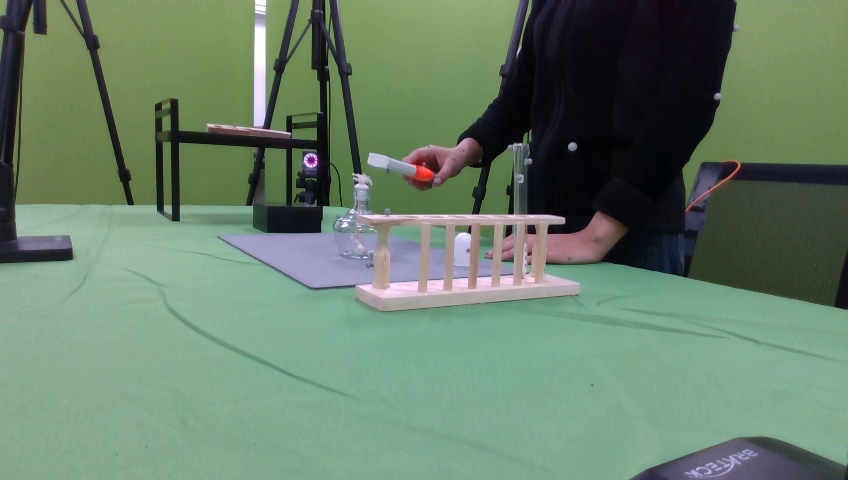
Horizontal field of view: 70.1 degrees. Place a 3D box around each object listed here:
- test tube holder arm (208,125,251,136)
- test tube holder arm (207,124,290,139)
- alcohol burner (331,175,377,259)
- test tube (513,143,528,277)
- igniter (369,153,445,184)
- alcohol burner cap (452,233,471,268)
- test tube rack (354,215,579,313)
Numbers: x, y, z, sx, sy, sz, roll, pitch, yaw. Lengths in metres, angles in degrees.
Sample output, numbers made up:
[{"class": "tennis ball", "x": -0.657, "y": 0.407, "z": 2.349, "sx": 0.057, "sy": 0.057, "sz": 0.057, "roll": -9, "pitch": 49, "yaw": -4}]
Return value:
[{"class": "test tube holder arm", "x": -0.418, "y": -0.234, "z": 1.299, "sx": 0.088, "sy": 0.015, "sz": 0.010, "roll": 1, "pitch": 41, "yaw": -32}, {"class": "test tube holder arm", "x": -0.381, "y": -0.237, "z": 1.327, "sx": 0.179, "sy": 0.015, "sz": 0.013, "roll": 0, "pitch": 42, "yaw": -32}, {"class": "alcohol burner", "x": -0.091, "y": -0.033, "z": 0.855, "sx": 0.078, "sy": 0.119, "sz": 0.078, "roll": 4, "pitch": 7, "yaw": 0}, {"class": "test tube", "x": 0.108, "y": -0.033, "z": 0.677, "sx": 0.017, "sy": 0.150, "sz": 0.017, "roll": -1, "pitch": 8, "yaw": 1}, {"class": "igniter", "x": -0.021, "y": -0.115, "z": 0.994, "sx": 0.057, "sy": 0.025, "sz": 0.277, "roll": 16, "pitch": 5, "yaw": 18}, {"class": "alcohol burner cap", "x": 0.053, "y": 0.014, "z": 0.823, "sx": 0.034, "sy": 0.048, "sz": 0.034, "roll": 3, "pitch": 6, "yaw": 0}, {"class": "test tube rack", "x": 0.053, "y": 0.019, "z": 0.635, "sx": 0.243, "sy": 0.085, "sz": 0.066, "roll": -1, "pitch": 8, "yaw": -29}]
